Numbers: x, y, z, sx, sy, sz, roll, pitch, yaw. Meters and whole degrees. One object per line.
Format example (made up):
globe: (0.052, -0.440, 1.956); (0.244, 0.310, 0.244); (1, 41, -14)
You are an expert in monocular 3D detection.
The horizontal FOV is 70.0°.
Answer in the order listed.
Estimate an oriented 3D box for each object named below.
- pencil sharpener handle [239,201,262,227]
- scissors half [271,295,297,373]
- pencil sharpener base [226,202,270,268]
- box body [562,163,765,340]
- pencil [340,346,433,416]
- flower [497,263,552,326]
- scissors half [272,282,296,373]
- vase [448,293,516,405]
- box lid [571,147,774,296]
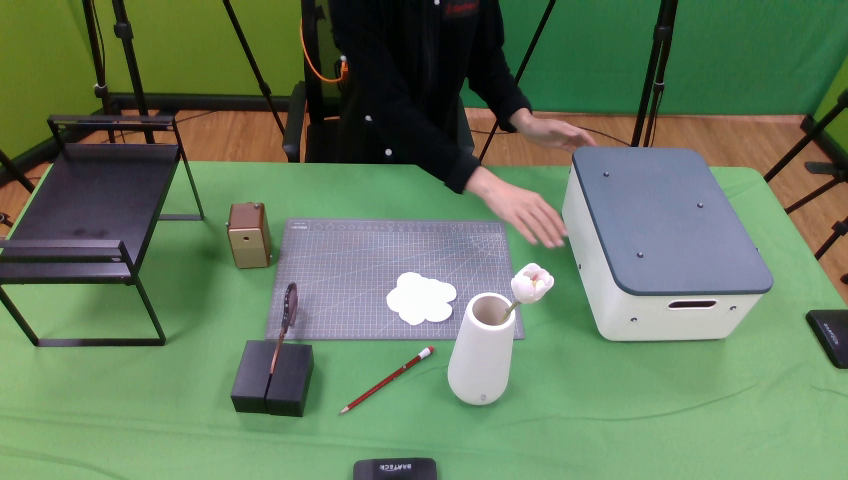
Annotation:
pencil sharpener handle: (-0.325, -0.056, 1.150); (0.036, 0.068, 0.030); (-13, 46, 4)
scissors half: (-0.230, 0.154, 1.000); (0.013, 0.040, 0.174); (0, 34, 2)
pencil sharpener base: (-0.323, -0.010, 1.123); (0.061, 0.107, 0.076); (-3, 46, -7)
box body: (0.420, 0.003, 1.129); (0.254, 0.161, 0.361); (-1, 46, -5)
pencil: (-0.058, 0.228, 0.984); (0.194, 0.012, 0.012); (-32, 56, -29)
flower: (0.103, 0.121, 0.853); (0.044, 0.363, 0.038); (-2, 64, -10)
scissors half: (-0.229, 0.139, 0.986); (0.013, 0.040, 0.174); (4, 51, -2)
vase: (0.091, 0.169, 0.921); (0.098, 0.201, 0.097); (3, 47, -3)
box lid: (0.424, -0.047, 1.074); (0.263, 0.015, 0.369); (-1, 46, -5)
